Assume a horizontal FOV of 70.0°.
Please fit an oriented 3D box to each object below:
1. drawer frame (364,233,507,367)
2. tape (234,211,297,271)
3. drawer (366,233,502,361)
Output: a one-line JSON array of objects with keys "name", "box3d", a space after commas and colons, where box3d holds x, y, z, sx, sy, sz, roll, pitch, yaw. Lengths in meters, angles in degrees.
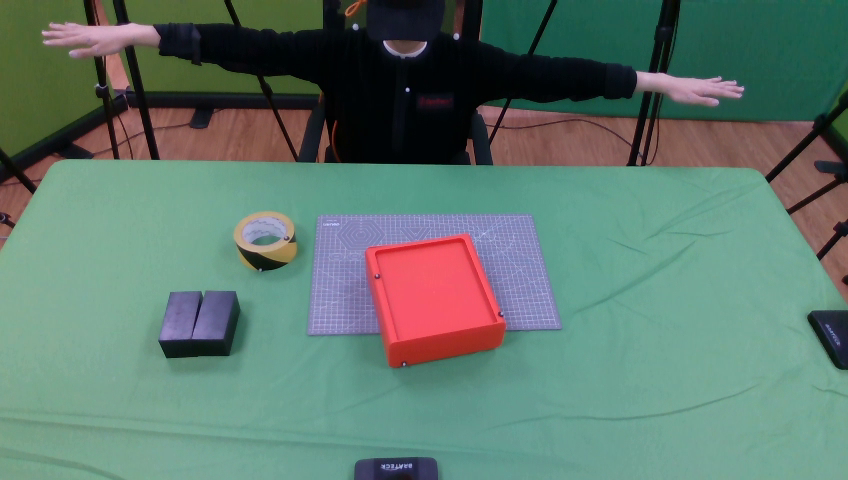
[{"name": "drawer frame", "box3d": [0.013, 0.098, 1.058, 0.202, 0.083, 0.212, -9, 48, -12]}, {"name": "tape", "box3d": [-0.301, 0.002, 1.154, 0.117, 0.053, 0.116, 2, 46, -1]}, {"name": "drawer", "box3d": [0.012, 0.095, 1.063, 0.195, 0.073, 0.210, -7, 48, -12]}]
